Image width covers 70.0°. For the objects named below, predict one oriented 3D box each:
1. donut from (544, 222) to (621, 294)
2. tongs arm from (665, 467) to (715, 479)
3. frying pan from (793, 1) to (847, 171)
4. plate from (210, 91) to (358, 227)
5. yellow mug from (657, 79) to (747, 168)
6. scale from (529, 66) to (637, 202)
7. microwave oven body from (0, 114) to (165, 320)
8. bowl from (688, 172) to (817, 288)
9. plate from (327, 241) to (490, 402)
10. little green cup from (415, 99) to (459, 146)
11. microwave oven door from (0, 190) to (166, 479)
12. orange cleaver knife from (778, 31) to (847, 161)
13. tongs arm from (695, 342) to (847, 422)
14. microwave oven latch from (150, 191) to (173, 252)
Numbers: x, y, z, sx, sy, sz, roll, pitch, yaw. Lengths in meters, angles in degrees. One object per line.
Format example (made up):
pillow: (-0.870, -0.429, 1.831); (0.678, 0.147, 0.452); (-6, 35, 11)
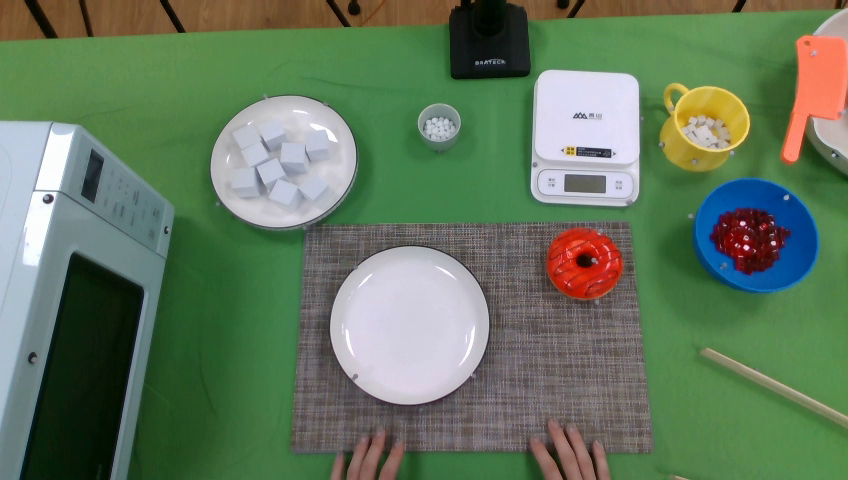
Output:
donut: (0.207, 0.023, 0.797); (0.099, 0.048, 0.098); (-1, 73, 4)
tongs arm: (0.482, 0.300, 0.708); (0.384, 0.027, 0.050); (14, 69, 7)
frying pan: (0.697, -0.117, 0.793); (0.307, 0.103, 0.483); (-26, 65, -5)
plate: (-0.195, -0.113, 0.864); (0.207, 0.039, 0.206); (-1, 73, 2)
yellow mug: (0.374, -0.171, 0.843); (0.100, 0.064, 0.130); (-32, 73, -7)
scale: (0.227, -0.153, 0.862); (0.148, 0.032, 0.200); (3, 73, 4)
microwave oven body: (-0.524, 0.109, 0.688); (0.326, 0.261, 0.439); (2, 73, 3)
bowl: (0.409, -0.003, 0.784); (0.151, 0.077, 0.150); (-1, 73, 2)
plate: (-0.020, 0.104, 0.785); (0.209, 0.038, 0.208); (-1, 73, 3)
little green cup: (0.019, -0.166, 0.871); (0.061, 0.039, 0.061); (-1, 72, 3)
microwave oven door: (-0.381, 0.152, 0.663); (0.039, 0.245, 0.353); (1, 73, 3)
orange cleaver knife: (0.518, -0.195, 0.805); (0.077, 0.012, 0.210); (17, 75, 8)
tongs arm: (0.514, 0.224, 0.734); (0.386, 0.028, 0.028); (28, 68, 11)
microwave oven latch: (-0.363, -0.025, 0.824); (0.030, 0.029, 0.078); (3, 74, 3)
